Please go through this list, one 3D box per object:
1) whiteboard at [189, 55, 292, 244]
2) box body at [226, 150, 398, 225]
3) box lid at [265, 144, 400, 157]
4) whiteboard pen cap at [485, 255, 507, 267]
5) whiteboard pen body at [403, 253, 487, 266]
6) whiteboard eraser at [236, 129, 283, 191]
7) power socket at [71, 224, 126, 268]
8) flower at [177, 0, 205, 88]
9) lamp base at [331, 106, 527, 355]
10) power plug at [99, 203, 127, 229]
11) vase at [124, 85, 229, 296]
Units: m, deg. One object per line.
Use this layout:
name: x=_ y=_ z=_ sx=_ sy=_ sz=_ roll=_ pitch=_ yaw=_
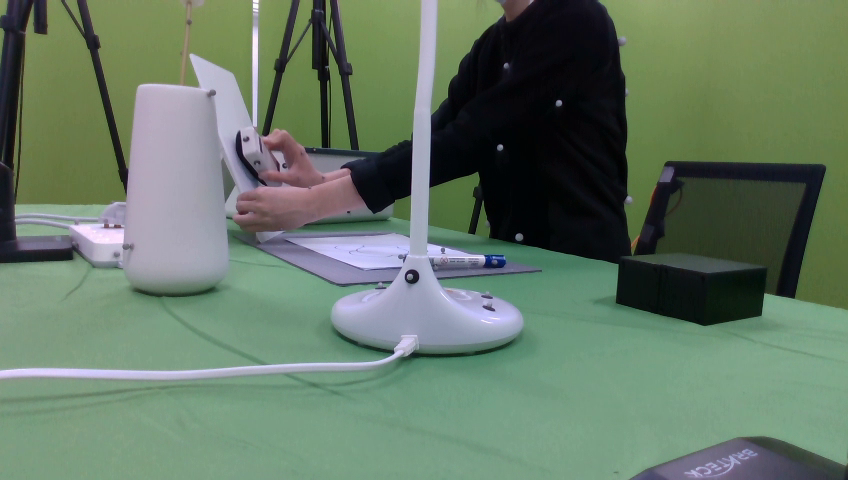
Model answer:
whiteboard: x=-0.363 y=-0.129 z=1.028 sx=0.144 sy=0.305 sz=0.217 roll=-18 pitch=7 yaw=3
box body: x=-0.265 y=-0.129 z=1.380 sx=0.253 sy=0.160 sz=0.366 roll=8 pitch=9 yaw=39
box lid: x=-0.263 y=-0.203 z=1.369 sx=0.262 sy=0.015 sz=0.373 roll=9 pitch=10 yaw=39
whiteboard pen cap: x=0.093 y=0.028 z=0.809 sx=0.033 sy=0.018 sz=0.018 roll=0 pitch=8 yaw=-24
whiteboard pen body: x=0.039 y=0.026 z=0.785 sx=0.141 sy=0.017 sz=0.017 roll=2 pitch=7 yaw=-24
whiteboard eraser: x=-0.274 y=-0.131 z=1.006 sx=0.042 sy=0.055 sz=0.113 roll=-20 pitch=-27 yaw=2
power socket: x=-0.409 y=0.004 z=0.793 sx=0.072 sy=0.032 sz=0.225 roll=-2 pitch=8 yaw=-37
flower: x=-0.243 y=-0.131 z=0.609 sx=0.044 sy=0.361 sz=0.038 roll=-5 pitch=-12 yaw=11
lamp base: x=0.006 y=-0.012 z=0.478 sx=0.161 sy=0.180 sz=0.179 roll=2 pitch=10 yaw=2
power plug: x=-0.415 y=-0.026 z=0.848 sx=0.073 sy=0.052 sz=0.035 roll=6 pitch=5 yaw=-28
vase: x=-0.244 y=-0.047 z=0.598 sx=0.098 sy=0.200 sz=0.098 roll=3 pitch=8 yaw=0
